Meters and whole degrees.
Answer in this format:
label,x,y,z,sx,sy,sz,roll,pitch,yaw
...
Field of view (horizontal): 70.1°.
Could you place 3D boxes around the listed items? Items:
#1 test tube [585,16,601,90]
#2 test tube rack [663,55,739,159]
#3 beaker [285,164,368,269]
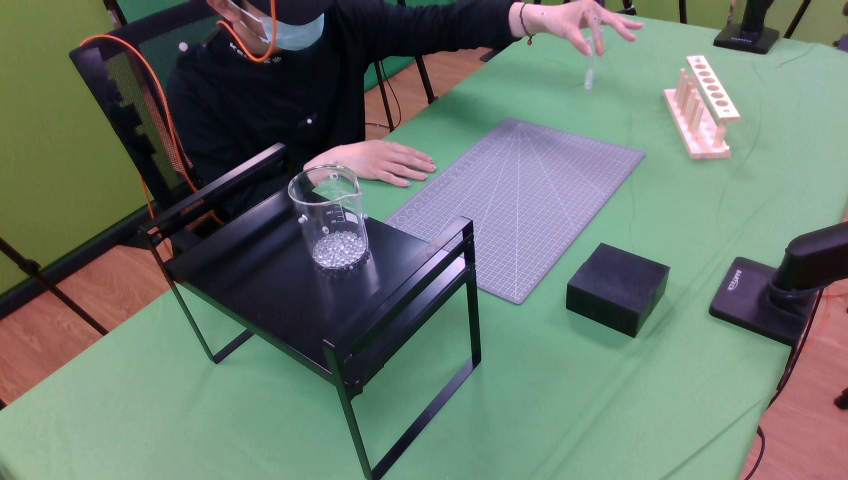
label,x,y,z,sx,sy,sz,roll,pitch,yaw
test tube,0.297,-0.326,1.068,0.017,0.151,0.017,-4,54,6
test tube rack,0.518,-0.256,1.144,0.066,0.085,0.241,-1,41,8
beaker,-0.102,-0.024,0.676,0.083,0.101,0.074,8,44,17
